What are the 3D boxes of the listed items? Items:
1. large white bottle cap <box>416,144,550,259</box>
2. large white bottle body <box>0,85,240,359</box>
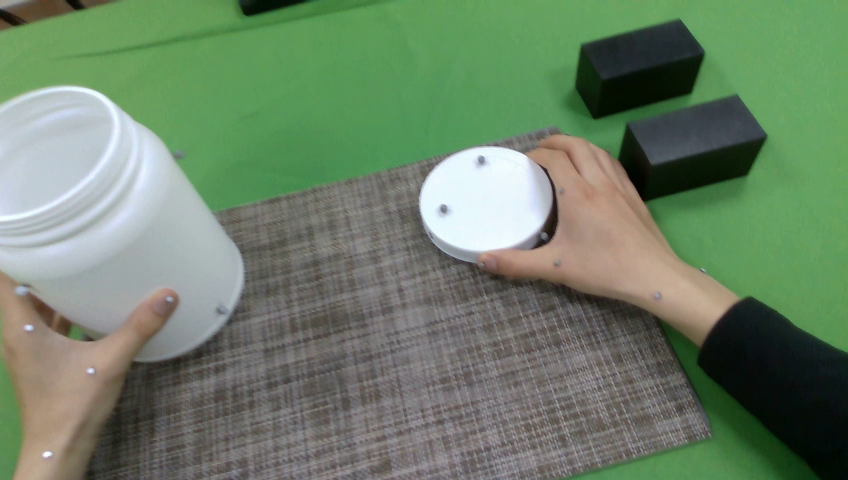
[{"bbox_3d":[0.051,-0.036,0.520,0.115,0.018,0.113,-4,56,7],"label":"large white bottle cap"},{"bbox_3d":[-0.227,-0.007,0.439,0.130,0.186,0.129,-3,57,5],"label":"large white bottle body"}]
